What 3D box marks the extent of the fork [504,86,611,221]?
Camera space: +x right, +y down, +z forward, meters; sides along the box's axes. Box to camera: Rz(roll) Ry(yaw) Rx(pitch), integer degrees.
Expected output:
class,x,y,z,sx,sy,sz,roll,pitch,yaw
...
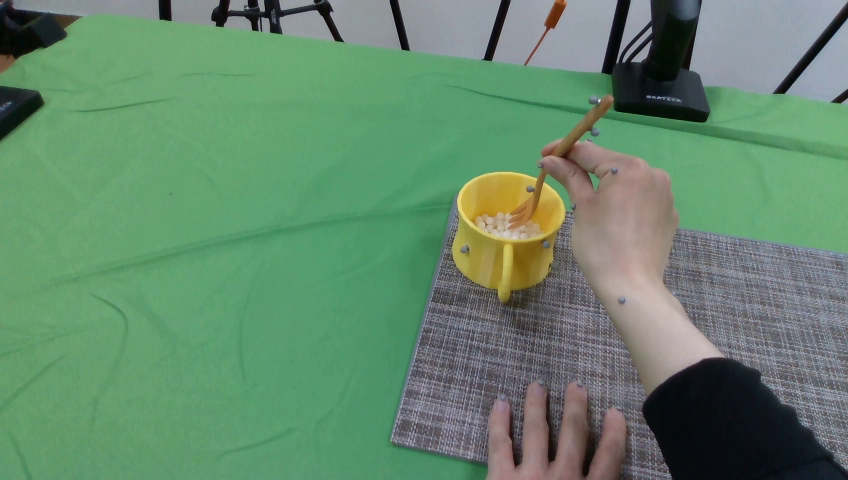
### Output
class,x,y,z,sx,sy,sz,roll,pitch,yaw
fork,0.103,-0.064,0.505,0.018,0.208,0.028,18,66,-1

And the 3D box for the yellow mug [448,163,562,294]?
class,x,y,z,sx,sy,sz,roll,pitch,yaw
yellow mug,0.073,-0.007,0.563,0.100,0.064,0.129,5,46,2
